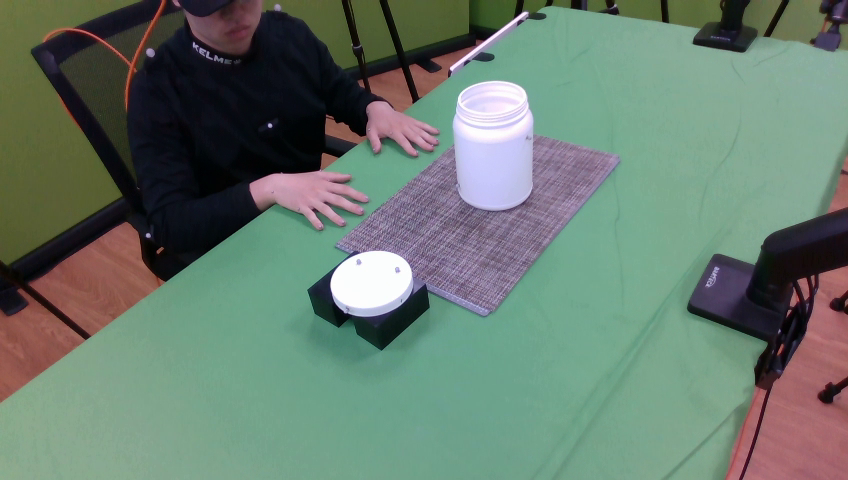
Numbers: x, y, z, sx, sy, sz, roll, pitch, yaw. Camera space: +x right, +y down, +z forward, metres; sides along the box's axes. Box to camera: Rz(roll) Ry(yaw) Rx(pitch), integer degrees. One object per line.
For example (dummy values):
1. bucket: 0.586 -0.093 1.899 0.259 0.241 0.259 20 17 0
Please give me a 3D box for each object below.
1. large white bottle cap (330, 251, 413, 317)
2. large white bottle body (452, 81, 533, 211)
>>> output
1. large white bottle cap: -0.072 0.059 0.836 0.115 0.018 0.114 -4 41 4
2. large white bottle body: 0.115 -0.156 1.002 0.130 0.185 0.130 -5 41 4
